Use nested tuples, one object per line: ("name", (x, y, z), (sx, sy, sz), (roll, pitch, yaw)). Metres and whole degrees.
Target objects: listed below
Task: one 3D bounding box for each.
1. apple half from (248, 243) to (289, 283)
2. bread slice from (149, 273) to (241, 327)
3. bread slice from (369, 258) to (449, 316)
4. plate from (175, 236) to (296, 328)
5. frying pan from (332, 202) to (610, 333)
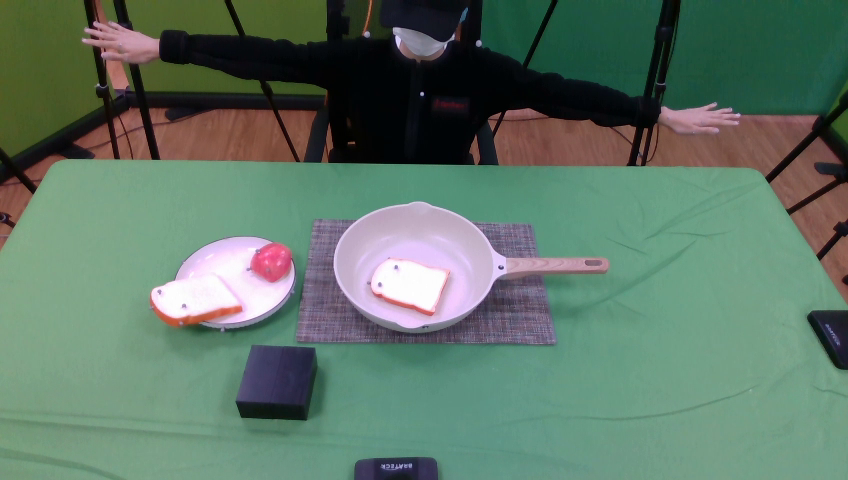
("apple half", (-0.287, 0.035, 1.107), (0.081, 0.033, 0.081), (-5, 65, 12))
("bread slice", (-0.392, 0.102, 1.029), (0.132, 0.019, 0.104), (-14, 43, -45))
("bread slice", (-0.031, 0.083, 1.107), (0.134, 0.018, 0.106), (13, 45, 8))
("plate", (-0.335, 0.077, 1.087), (0.208, 0.039, 0.206), (2, 46, -2))
("frying pan", (0.085, 0.052, 1.093), (0.488, 0.103, 0.305), (-1, 46, 6))
